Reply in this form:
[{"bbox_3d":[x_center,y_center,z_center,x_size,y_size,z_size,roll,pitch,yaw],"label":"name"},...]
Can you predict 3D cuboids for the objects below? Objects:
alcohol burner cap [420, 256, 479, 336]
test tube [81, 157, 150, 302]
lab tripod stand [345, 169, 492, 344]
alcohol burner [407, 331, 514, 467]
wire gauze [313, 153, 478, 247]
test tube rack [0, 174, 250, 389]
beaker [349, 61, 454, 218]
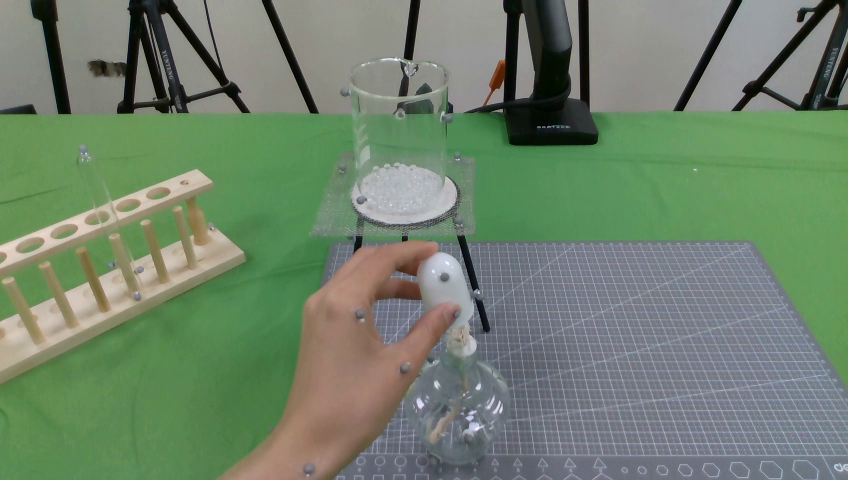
[{"bbox_3d":[0.014,0.031,0.369,0.034,0.048,0.033,-9,37,7],"label":"alcohol burner cap"},{"bbox_3d":[-0.271,-0.005,0.535,0.017,0.151,0.017,0,36,1],"label":"test tube"},{"bbox_3d":[-0.008,0.016,0.529,0.148,0.132,0.147,0,37,0],"label":"lab tripod stand"},{"bbox_3d":[0.026,0.105,0.427,0.078,0.120,0.077,0,39,1],"label":"alcohol burner"},{"bbox_3d":[-0.017,-0.035,0.487,0.121,0.011,0.124,2,40,3],"label":"wire gauze"},{"bbox_3d":[-0.294,0.029,0.564,0.242,0.086,0.066,-30,45,-32],"label":"test tube rack"},{"bbox_3d":[-0.016,-0.075,0.459,0.074,0.101,0.083,7,38,8],"label":"beaker"}]
